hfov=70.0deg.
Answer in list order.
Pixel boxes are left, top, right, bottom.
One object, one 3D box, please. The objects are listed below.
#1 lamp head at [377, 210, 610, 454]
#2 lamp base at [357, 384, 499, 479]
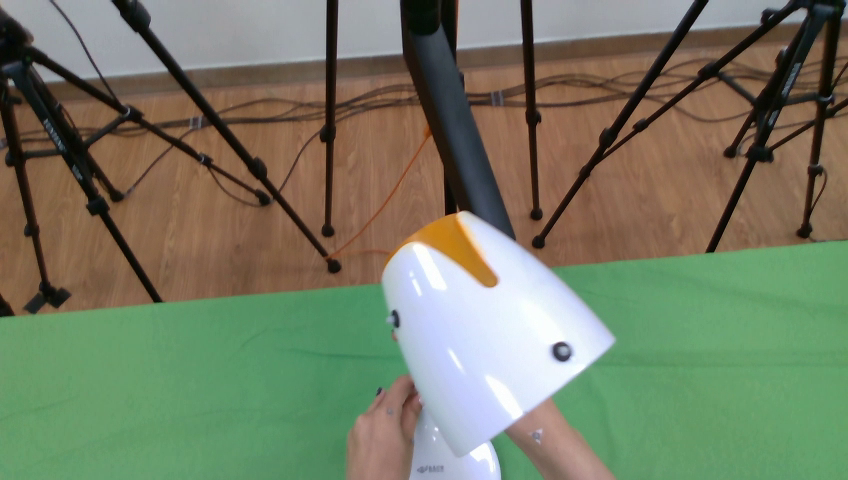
[{"bbox_3d":[0.028,0.046,0.359,0.112,0.113,0.122,-32,70,-19],"label":"lamp head"},{"bbox_3d":[-0.001,0.209,0.631,0.161,0.182,0.177,-12,53,-7],"label":"lamp base"}]
